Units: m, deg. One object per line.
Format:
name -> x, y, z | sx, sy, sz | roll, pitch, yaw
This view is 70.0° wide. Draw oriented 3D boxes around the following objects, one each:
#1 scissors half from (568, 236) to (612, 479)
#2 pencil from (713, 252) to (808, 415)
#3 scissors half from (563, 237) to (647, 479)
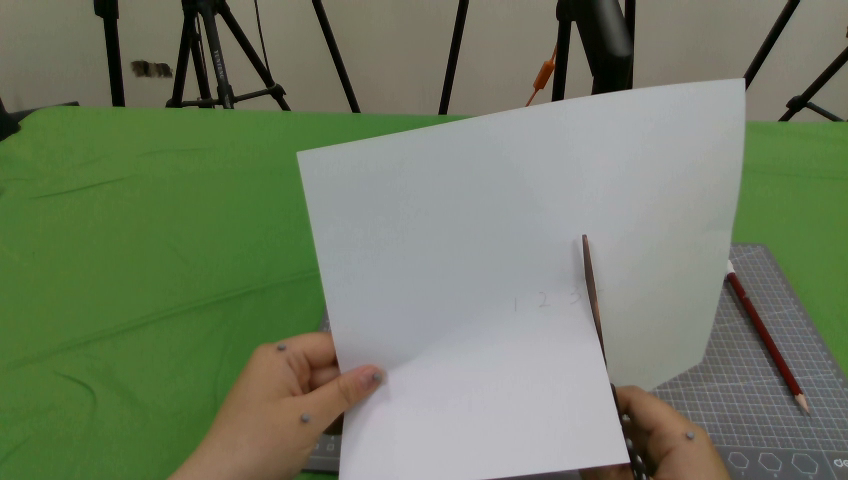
scissors half -> 0.101, 0.083, 0.365 | 0.013, 0.175, 0.040 | -11, 9, -5
pencil -> 0.298, 0.075, 0.544 | 0.012, 0.012, 0.192 | 0, 39, 1
scissors half -> 0.101, 0.080, 0.343 | 0.013, 0.040, 0.174 | -12, 73, 0
